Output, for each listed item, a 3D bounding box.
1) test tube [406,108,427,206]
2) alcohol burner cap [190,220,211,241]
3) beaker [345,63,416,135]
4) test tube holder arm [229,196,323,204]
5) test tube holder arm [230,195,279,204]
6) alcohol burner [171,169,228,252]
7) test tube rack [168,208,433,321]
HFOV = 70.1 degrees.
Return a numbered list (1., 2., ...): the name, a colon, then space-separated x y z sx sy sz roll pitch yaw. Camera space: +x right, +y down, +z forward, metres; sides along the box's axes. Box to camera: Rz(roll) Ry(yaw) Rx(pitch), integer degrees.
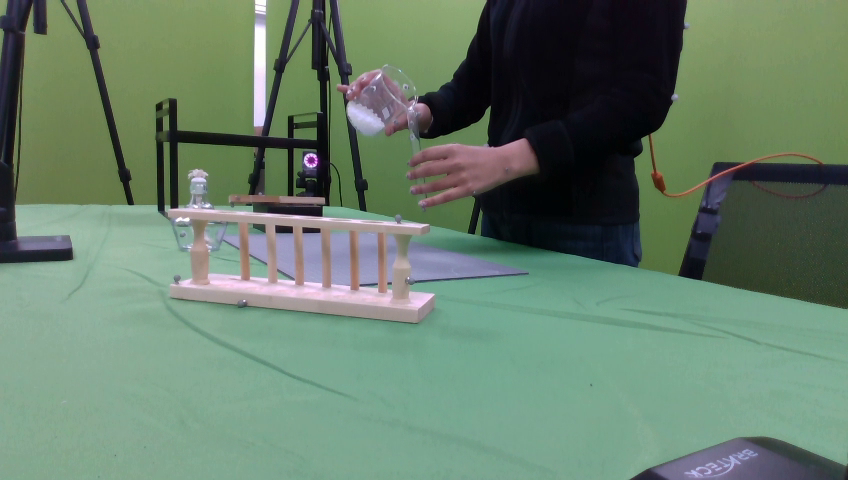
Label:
1. test tube: -0.012 -0.127 0.933 0.017 0.150 0.017 -7 2 1
2. alcohol burner cap: -0.365 -0.023 0.988 0.034 0.048 0.034 1 7 0
3. beaker: -0.071 -0.218 0.962 0.100 0.084 0.074 -32 -5 38
4. test tube holder arm: -0.276 -0.075 1.144 0.179 0.015 0.013 -1 1 -33
5. test tube holder arm: -0.311 -0.075 1.115 0.088 0.015 0.010 -1 1 -31
6. alcohol burner: -0.325 -0.043 0.875 0.078 0.119 0.078 0 7 0
7. test tube rack: -0.115 0.017 0.574 0.242 0.085 0.067 4 8 13
